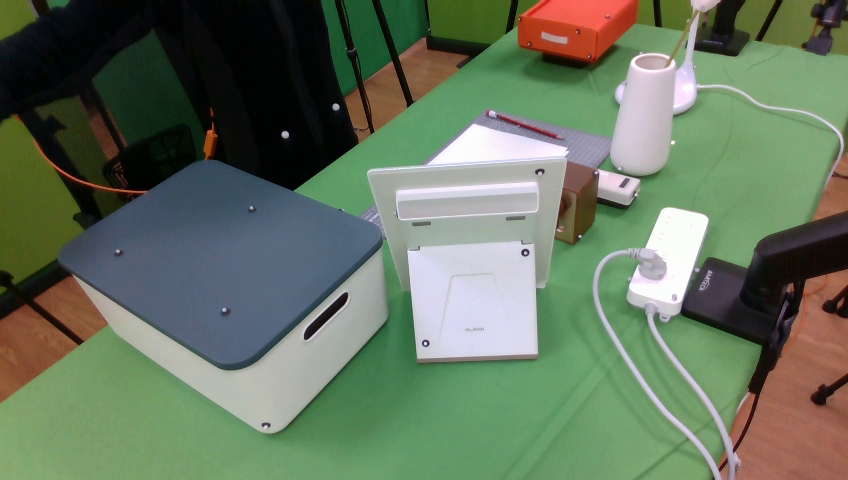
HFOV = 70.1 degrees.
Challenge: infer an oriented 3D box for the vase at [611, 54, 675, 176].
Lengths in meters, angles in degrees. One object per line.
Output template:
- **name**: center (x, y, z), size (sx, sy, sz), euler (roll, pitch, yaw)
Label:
- **vase**: center (0.377, -0.209, 1.031), size (0.098, 0.201, 0.097), euler (-3, 40, 3)

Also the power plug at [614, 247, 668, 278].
- **power plug**: center (0.306, 0.031, 0.851), size (0.072, 0.053, 0.035), euler (24, 49, 33)

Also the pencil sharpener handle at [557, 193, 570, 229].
- **pencil sharpener handle**: center (0.195, -0.038, 0.908), size (0.035, 0.068, 0.031), euler (24, 50, 30)

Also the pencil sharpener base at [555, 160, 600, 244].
- **pencil sharpener base**: center (0.228, -0.057, 0.945), size (0.061, 0.107, 0.077), euler (24, 50, 31)

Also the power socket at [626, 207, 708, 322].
- **power socket**: center (0.359, 0.026, 0.886), size (0.072, 0.033, 0.227), euler (16, 46, 26)

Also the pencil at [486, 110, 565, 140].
- **pencil**: center (0.204, -0.233, 1.226), size (0.192, 0.012, 0.012), euler (29, 52, 33)

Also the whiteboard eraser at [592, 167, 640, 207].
- **whiteboard eraser**: center (0.303, -0.091, 1.024), size (0.112, 0.042, 0.056), euler (21, 49, 28)

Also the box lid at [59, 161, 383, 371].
- **box lid**: center (-0.262, 0.010, 0.777), size (0.369, 0.015, 0.264), euler (21, 48, 29)

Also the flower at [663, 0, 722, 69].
- **flower**: center (0.379, -0.261, 0.965), size (0.044, 0.362, 0.038), euler (21, 53, 5)

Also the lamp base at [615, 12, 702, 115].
- **lamp base**: center (0.484, -0.363, 1.211), size (0.180, 0.181, 0.159), euler (-15, 41, -14)

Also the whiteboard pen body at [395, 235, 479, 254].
- **whiteboard pen body**: center (0.019, 0.005, 0.963), size (0.140, 0.017, 0.017), euler (9, 43, 17)

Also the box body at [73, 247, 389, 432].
- **box body**: center (-0.255, 0.065, 0.827), size (0.361, 0.161, 0.255), euler (21, 48, 29)

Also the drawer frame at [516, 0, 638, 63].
- **drawer frame**: center (0.355, -0.508, 1.411), size (0.200, 0.083, 0.214), euler (23, 51, 32)

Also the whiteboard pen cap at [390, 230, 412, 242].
- **whiteboard pen cap**: center (-0.036, -0.006, 0.980), size (0.033, 0.018, 0.018), euler (9, 43, 17)

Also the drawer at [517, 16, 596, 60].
- **drawer**: center (0.353, -0.506, 1.405), size (0.193, 0.073, 0.212), euler (23, 49, 32)

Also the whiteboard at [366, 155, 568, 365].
- **whiteboard**: center (0.059, 0.050, 0.738), size (0.217, 0.307, 0.143), euler (-3, 60, 5)
